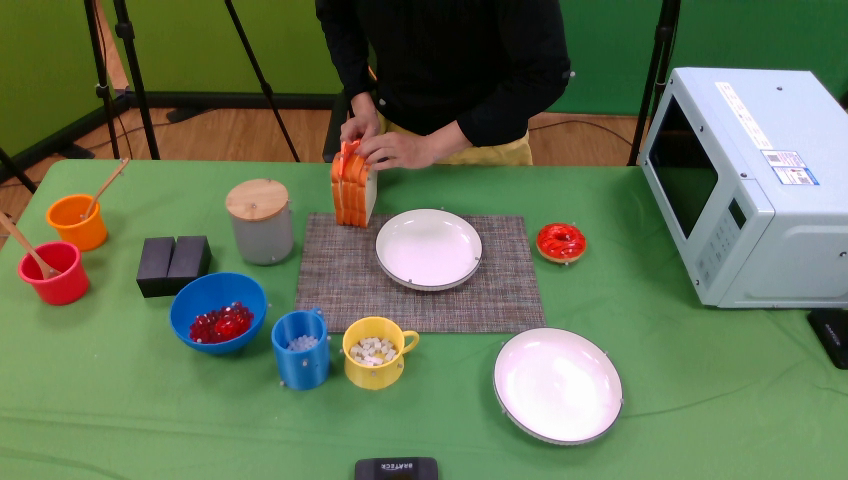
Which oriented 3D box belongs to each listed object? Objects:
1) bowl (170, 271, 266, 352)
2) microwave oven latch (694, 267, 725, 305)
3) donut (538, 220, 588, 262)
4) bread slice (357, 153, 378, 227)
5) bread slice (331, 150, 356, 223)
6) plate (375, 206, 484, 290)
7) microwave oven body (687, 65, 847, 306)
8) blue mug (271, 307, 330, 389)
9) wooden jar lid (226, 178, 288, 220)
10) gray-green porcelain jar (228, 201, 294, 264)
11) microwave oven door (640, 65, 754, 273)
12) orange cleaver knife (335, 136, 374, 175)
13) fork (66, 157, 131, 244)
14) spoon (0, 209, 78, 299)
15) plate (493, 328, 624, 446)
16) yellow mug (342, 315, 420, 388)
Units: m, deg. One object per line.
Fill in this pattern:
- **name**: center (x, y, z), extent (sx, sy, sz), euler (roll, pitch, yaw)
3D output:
- **bowl**: center (-0.333, 0.132, 1.006), extent (0.151, 0.077, 0.150), euler (2, 46, -2)
- **microwave oven latch**: center (0.523, 0.082, 1.115), extent (0.030, 0.029, 0.078), euler (3, 46, 0)
- **donut**: center (0.273, 0.000, 1.198), extent (0.099, 0.048, 0.098), euler (0, 46, 0)
- **bread slice**: center (-0.114, -0.105, 1.212), extent (0.018, 0.135, 0.106), euler (11, 47, 3)
- **bread slice**: center (-0.162, -0.116, 1.217), extent (0.019, 0.132, 0.104), euler (1, 41, 7)
- **plate**: center (0.009, 0.019, 1.160), extent (0.209, 0.038, 0.208), euler (2, 47, -2)
- **microwave oven body**: center (0.669, -0.111, 1.176), extent (0.326, 0.261, 0.439), euler (0, 46, -3)
- **blue mug**: center (-0.188, 0.163, 0.969), extent (0.082, 0.106, 0.116), euler (15, 47, 10)
- **wooden jar lid**: center (-0.296, -0.070, 1.081), extent (0.108, 0.021, 0.107), euler (1, 45, 0)
- **gray-green porcelain jar**: center (-0.299, -0.027, 1.126), extent (0.106, 0.127, 0.105), euler (2, 46, -2)
- **microwave oven door**: center (0.523, -0.147, 1.193), extent (0.039, 0.245, 0.353), euler (0, 47, -3)
- **orange cleaver knife**: center (-0.141, -0.174, 1.237), extent (0.012, 0.077, 0.211), euler (20, 18, 5)
- **fork**: center (-0.608, -0.074, 1.132), extent (0.207, 0.019, 0.028), euler (-52, 48, 10)
- **spoon**: center (-0.668, 0.021, 1.040), extent (0.041, 0.021, 0.194), euler (-41, 105, -30)
- **plate**: center (0.213, 0.236, 0.974), extent (0.208, 0.039, 0.206), euler (2, 46, -2)
- **yellow mug**: center (-0.068, 0.177, 0.990), extent (0.131, 0.064, 0.099), euler (-15, 50, -19)
